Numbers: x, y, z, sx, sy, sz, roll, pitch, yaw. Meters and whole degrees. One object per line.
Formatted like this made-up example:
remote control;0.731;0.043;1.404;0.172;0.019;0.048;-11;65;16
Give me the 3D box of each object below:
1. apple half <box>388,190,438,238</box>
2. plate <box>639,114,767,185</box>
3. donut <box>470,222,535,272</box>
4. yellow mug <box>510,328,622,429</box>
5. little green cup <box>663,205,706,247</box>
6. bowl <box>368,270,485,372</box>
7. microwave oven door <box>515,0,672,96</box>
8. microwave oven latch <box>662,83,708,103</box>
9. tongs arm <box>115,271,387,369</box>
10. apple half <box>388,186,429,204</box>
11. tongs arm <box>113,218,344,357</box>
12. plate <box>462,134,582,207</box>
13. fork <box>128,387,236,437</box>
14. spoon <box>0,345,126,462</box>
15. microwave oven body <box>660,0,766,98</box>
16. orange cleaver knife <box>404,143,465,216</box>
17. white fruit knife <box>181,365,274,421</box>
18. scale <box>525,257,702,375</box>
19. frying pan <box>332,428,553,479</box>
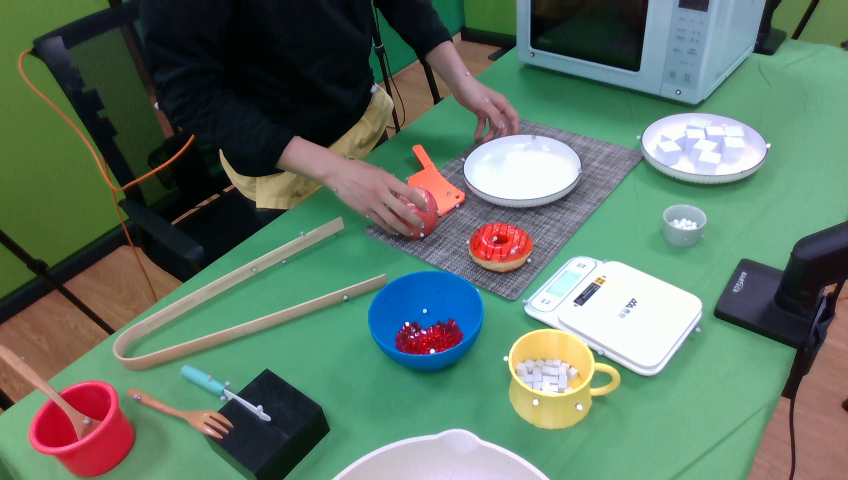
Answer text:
apple half;-0.015;-0.035;0.973;0.081;0.075;0.053;-9;46;-4
plate;0.489;-0.157;1.074;0.207;0.039;0.206;-4;40;4
donut;0.119;0.009;0.923;0.099;0.048;0.098;-4;38;3
yellow mug;0.168;0.164;0.721;0.130;0.064;0.099;0;40;8
little green cup;0.396;-0.020;0.926;0.061;0.039;0.061;-4;40;4
bowl;0.007;0.118;0.791;0.151;0.077;0.150;-4;40;4
microwave oven door;0.343;-0.455;1.259;0.353;0.245;0.039;26;51;33
microwave oven latch;0.517;-0.296;1.204;0.078;0.029;0.030;28;52;35
tongs arm;-0.237;0.112;0.868;0.389;0.028;0.028;-18;47;-13
apple half;-0.022;-0.061;1.000;0.081;0.081;0.032;-10;47;-3
tongs arm;-0.280;0.067;0.926;0.386;0.026;0.050;-28;47;-23
plate;0.173;-0.119;1.070;0.209;0.038;0.208;-4;40;4
fork;-0.305;0.207;0.744;0.206;0.019;0.028;3;42;36
spoon;-0.434;0.192;0.720;0.194;0.021;0.042;47;53;-7
microwave oven body;0.472;-0.513;1.317;0.438;0.261;0.327;26;51;34
orange cleaver knife;0.005;-0.113;1.102;0.077;0.012;0.209;-24;45;-9
white fruit knife;-0.245;0.187;0.747;0.205;0.027;0.016;9;41;40
scale;0.254;0.091;0.821;0.199;0.032;0.149;28;51;35
frying pan;-0.089;0.306;0.564;0.487;0.103;0.306;10;41;7
